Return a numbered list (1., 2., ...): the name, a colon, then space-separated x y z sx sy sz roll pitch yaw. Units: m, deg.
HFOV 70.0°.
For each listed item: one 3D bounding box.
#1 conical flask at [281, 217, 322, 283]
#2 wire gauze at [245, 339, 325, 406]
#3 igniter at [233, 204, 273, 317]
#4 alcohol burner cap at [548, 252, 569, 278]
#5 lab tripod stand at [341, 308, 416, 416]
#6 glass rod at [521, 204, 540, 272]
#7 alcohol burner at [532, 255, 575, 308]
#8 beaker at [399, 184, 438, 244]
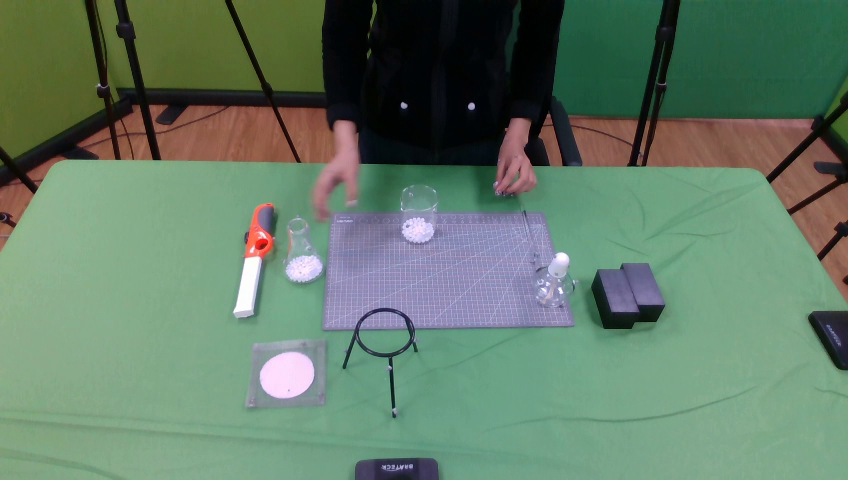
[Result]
1. conical flask: -0.226 0.016 1.097 0.075 0.122 0.075 3 46 -2
2. wire gauze: -0.224 0.214 0.984 0.125 0.011 0.120 -2 46 -5
3. igniter: -0.321 0.029 1.142 0.057 0.025 0.274 -8 46 4
4. alcohol burner cap: 0.238 0.042 1.060 0.034 0.048 0.033 1 53 -1
5. lab tripod stand: -0.061 0.177 0.946 0.148 0.132 0.147 2 44 -2
6. glass rod: 0.215 -0.008 1.230 0.008 0.008 0.198 0 43 -3
7. alcohol burner: 0.235 0.066 1.087 0.078 0.119 0.077 4 45 -3
8. beaker: -0.014 -0.046 1.186 0.073 0.101 0.084 36 54 27
